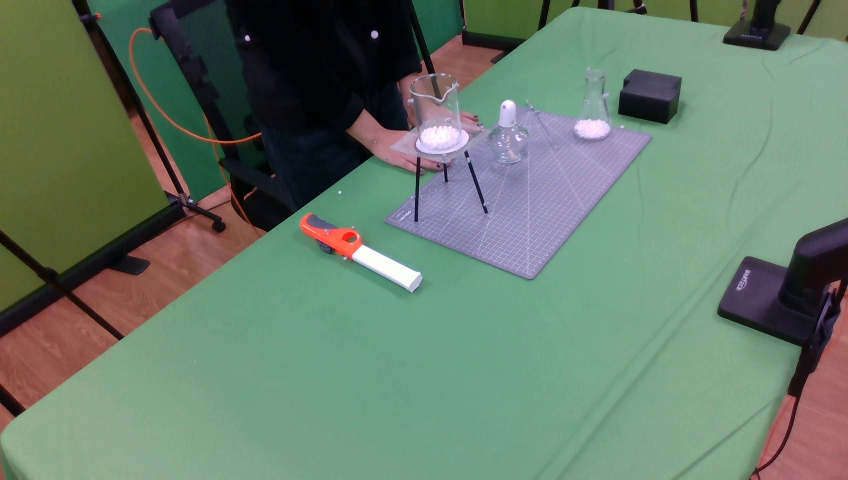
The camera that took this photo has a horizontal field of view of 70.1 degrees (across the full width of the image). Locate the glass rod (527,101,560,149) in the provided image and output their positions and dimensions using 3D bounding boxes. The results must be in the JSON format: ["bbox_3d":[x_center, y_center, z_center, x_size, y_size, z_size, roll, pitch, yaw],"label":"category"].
[{"bbox_3d":[0.240,-0.236,1.223,0.008,0.008,0.198,-12,40,-2],"label":"glass rod"}]

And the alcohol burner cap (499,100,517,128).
[{"bbox_3d":[0.154,-0.230,1.096,0.034,0.048,0.033,-2,45,2],"label":"alcohol burner cap"}]

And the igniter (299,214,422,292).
[{"bbox_3d":[-0.113,0.016,0.983,0.274,0.025,0.057,26,62,35],"label":"igniter"}]

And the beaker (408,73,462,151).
[{"bbox_3d":[0.021,-0.196,0.943,0.074,0.101,0.083,-17,39,-7],"label":"beaker"}]

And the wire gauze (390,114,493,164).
[{"bbox_3d":[0.027,-0.163,0.978,0.120,0.011,0.125,22,50,36],"label":"wire gauze"}]

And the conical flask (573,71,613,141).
[{"bbox_3d":[0.321,-0.256,1.142,0.075,0.122,0.075,-5,40,5],"label":"conical flask"}]

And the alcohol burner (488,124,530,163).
[{"bbox_3d":[0.157,-0.204,1.120,0.078,0.119,0.077,-5,38,5],"label":"alcohol burner"}]

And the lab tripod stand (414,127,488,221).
[{"bbox_3d":[0.035,-0.114,1.021,0.148,0.132,0.147,-7,39,6],"label":"lab tripod stand"}]
